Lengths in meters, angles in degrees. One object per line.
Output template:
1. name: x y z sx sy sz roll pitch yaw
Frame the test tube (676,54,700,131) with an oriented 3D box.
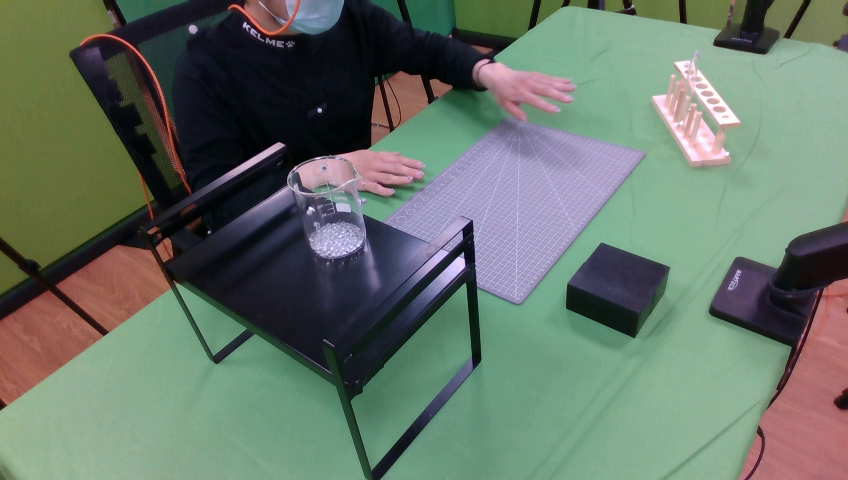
1. test tube: 0.475 -0.263 1.088 0.017 0.151 0.017 -4 42 4

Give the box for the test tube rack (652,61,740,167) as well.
1. test tube rack: 0.499 -0.242 1.130 0.067 0.085 0.241 -5 41 3

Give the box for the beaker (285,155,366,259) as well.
1. beaker: -0.105 -0.035 0.691 0.084 0.101 0.073 -4 41 3
